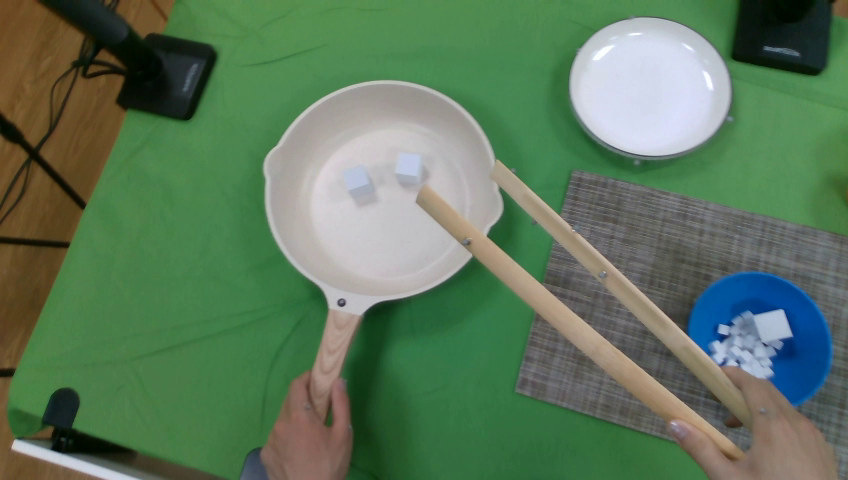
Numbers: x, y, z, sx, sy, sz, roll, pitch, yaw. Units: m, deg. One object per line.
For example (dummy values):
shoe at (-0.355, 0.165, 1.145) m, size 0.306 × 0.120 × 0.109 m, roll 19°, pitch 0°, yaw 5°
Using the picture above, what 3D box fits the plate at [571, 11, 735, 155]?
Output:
plate at (0.300, -0.205, 0.806) m, size 0.207 × 0.039 × 0.206 m, roll -1°, pitch 75°, yaw 5°

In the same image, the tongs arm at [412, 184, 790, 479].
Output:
tongs arm at (0.133, 0.072, 0.526) m, size 0.385 × 0.028 × 0.028 m, roll 40°, pitch 41°, yaw 17°

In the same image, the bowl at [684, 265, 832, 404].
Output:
bowl at (0.364, 0.110, 0.689) m, size 0.151 × 0.077 × 0.150 m, roll -1°, pitch 75°, yaw 4°

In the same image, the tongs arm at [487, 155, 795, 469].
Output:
tongs arm at (0.177, 0.051, 0.566) m, size 0.051 × 0.027 × 0.381 m, roll -24°, pitch 60°, yaw -40°

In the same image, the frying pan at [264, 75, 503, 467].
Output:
frying pan at (-0.079, 0.026, 0.738) m, size 0.306 × 0.103 × 0.485 m, roll 13°, pitch 68°, yaw 9°
